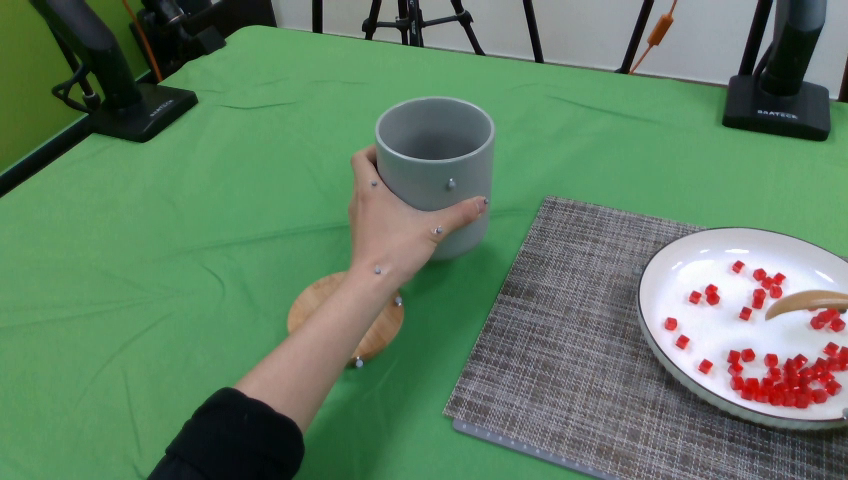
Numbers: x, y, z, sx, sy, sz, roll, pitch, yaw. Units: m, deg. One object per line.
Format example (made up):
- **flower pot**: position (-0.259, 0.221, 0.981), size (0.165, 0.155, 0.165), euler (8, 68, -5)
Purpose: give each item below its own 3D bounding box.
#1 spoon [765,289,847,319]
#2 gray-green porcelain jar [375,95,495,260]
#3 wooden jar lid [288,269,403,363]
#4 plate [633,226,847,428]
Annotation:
- **spoon**: position (0.323, 0.040, 0.409), size (0.042, 0.021, 0.193), euler (-14, -1, -28)
- **gray-green porcelain jar**: position (0.010, -0.053, 0.566), size (0.106, 0.127, 0.105), euler (0, 43, 1)
- **wooden jar lid**: position (-0.072, 0.072, 0.568), size (0.108, 0.021, 0.107), euler (-2, 44, 2)
- **plate**: position (0.283, 0.070, 0.513), size (0.207, 0.039, 0.205), euler (-3, 43, 3)
